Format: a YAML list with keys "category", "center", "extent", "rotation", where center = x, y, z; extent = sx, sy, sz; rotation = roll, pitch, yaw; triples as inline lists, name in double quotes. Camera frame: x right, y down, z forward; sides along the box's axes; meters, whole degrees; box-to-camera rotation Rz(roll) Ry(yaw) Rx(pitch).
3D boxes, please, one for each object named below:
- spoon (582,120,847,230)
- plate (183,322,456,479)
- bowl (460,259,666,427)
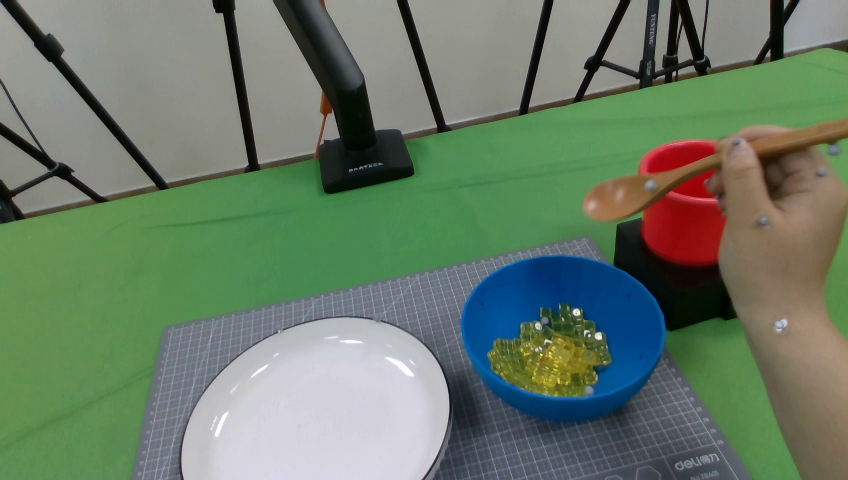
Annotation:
- category: "spoon"
  center: [0.180, -0.041, 0.383]
  extent: [0.193, 0.022, 0.041]
  rotation: [-23, 33, 54]
- category: "plate"
  center: [-0.077, 0.150, 0.474]
  extent: [0.207, 0.039, 0.205]
  rotation: [-6, 38, 5]
- category: "bowl"
  center: [0.106, 0.092, 0.477]
  extent: [0.151, 0.077, 0.150]
  rotation: [-6, 38, 5]
